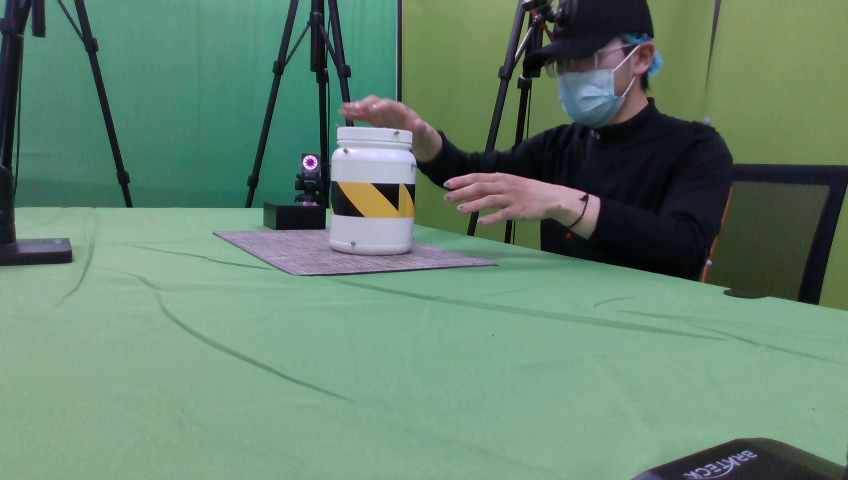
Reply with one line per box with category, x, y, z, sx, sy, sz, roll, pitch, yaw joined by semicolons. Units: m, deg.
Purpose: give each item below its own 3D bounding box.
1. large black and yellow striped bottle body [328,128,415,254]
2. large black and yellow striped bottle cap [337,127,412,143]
large black and yellow striped bottle body;-0.080;-0.077;0.929;0.131;0.184;0.130;2;7;0
large black and yellow striped bottle cap;-0.075;-0.160;0.920;0.115;0.019;0.115;3;8;0
